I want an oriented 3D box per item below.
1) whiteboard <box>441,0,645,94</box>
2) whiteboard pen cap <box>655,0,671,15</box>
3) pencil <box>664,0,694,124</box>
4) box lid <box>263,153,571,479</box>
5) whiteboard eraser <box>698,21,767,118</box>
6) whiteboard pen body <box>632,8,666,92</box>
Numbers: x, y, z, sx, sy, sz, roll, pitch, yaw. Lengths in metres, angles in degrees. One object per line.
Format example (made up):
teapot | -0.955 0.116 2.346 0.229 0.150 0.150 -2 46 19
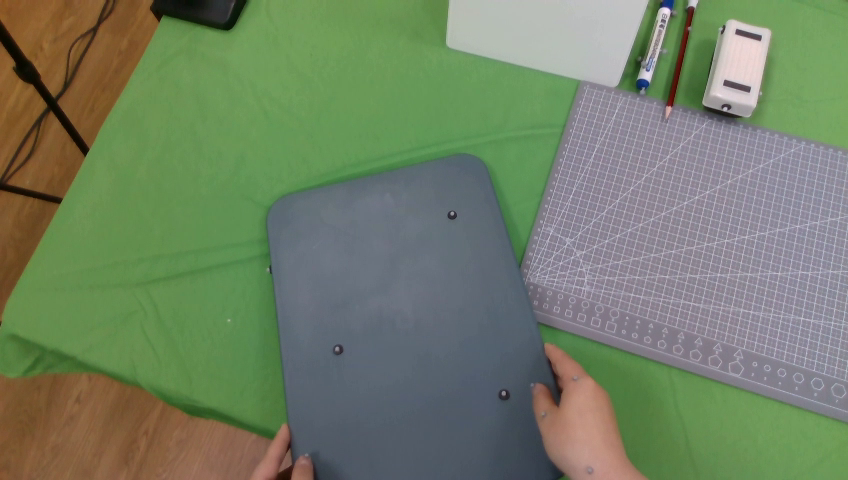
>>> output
whiteboard | 0.153 -0.347 0.660 0.216 0.308 0.143 17 54 10
whiteboard pen cap | 0.298 -0.294 0.752 0.018 0.018 0.033 16 72 9
pencil | 0.308 -0.223 0.732 0.012 0.012 0.193 15 73 8
box lid | -0.024 0.080 0.626 0.263 0.015 0.368 -13 64 -2
whiteboard eraser | 0.358 -0.197 0.705 0.055 0.042 0.112 17 74 10
whiteboard pen body | 0.277 -0.242 0.737 0.017 0.017 0.140 18 73 10
